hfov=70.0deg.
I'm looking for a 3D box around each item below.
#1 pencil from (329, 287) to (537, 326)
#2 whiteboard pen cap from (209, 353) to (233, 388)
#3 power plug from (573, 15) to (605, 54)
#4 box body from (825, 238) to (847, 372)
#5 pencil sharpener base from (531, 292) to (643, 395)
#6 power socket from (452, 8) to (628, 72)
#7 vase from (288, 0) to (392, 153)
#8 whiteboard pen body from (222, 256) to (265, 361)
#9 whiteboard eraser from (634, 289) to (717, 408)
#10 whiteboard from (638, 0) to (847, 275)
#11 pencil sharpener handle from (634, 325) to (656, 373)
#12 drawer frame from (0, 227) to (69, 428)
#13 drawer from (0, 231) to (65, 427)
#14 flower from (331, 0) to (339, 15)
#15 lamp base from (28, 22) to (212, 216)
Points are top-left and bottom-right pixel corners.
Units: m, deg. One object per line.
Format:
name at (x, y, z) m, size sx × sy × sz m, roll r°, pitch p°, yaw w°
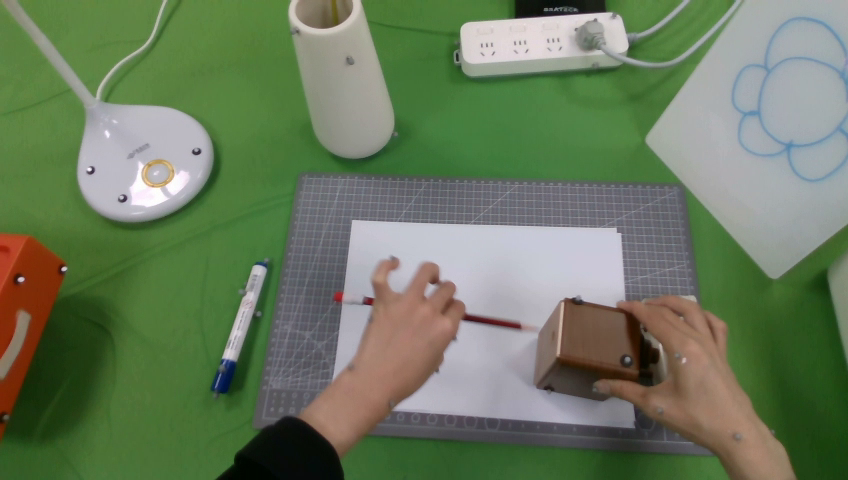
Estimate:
pencil at (0.007, 0.062, 0.556) m, size 0.194 × 0.012 × 0.012 m, roll 9°, pitch 65°, yaw 6°
whiteboard pen cap at (-0.203, 0.130, 0.610) m, size 0.018 × 0.018 × 0.033 m, roll 6°, pitch 59°, yaw 6°
power plug at (0.201, -0.244, 0.744) m, size 0.035 × 0.053 × 0.072 m, roll 6°, pitch 66°, yaw 6°
box body at (0.525, 0.139, 0.503) m, size 0.254 × 0.161 × 0.361 m, roll 2°, pitch 65°, yaw 3°
pencil sharpener base at (0.149, 0.099, 0.562) m, size 0.076 × 0.108 × 0.061 m, roll 10°, pitch 63°, yaw 2°
power socket at (0.149, -0.257, 0.778) m, size 0.227 × 0.033 × 0.071 m, roll -3°, pitch 65°, yaw 1°
vase at (-0.091, -0.182, 0.661) m, size 0.098 × 0.201 × 0.097 m, roll -2°, pitch 64°, yaw 4°
whiteboard pen body at (-0.192, 0.080, 0.638) m, size 0.017 × 0.017 × 0.139 m, roll 6°, pitch 61°, yaw 6°
whiteboard eraser at (0.244, 0.106, 0.595) m, size 0.055 × 0.042 × 0.111 m, roll -2°, pitch 64°, yaw -1°
whiteboard at (0.405, -0.148, 0.600) m, size 0.144 × 0.307 × 0.215 m, roll -19°, pitch 63°, yaw -27°
pencil sharpener handle at (0.199, 0.104, 0.550) m, size 0.030 × 0.068 × 0.035 m, roll 10°, pitch 60°, yaw 2°
drawer frame at (-0.489, 0.083, 0.570) m, size 0.213 × 0.083 × 0.200 m, roll 5°, pitch 66°, yaw 3°
drawer at (-0.483, 0.081, 0.567) m, size 0.211 × 0.074 × 0.193 m, roll 5°, pitch 66°, yaw 4°
flower at (-0.087, -0.234, 0.595) m, size 0.038 × 0.365 × 0.043 m, roll -9°, pitch 46°, yaw -9°
lamp base at (-0.348, -0.140, 0.662) m, size 0.178 × 0.182 × 0.160 m, roll 33°, pitch 70°, yaw 20°
